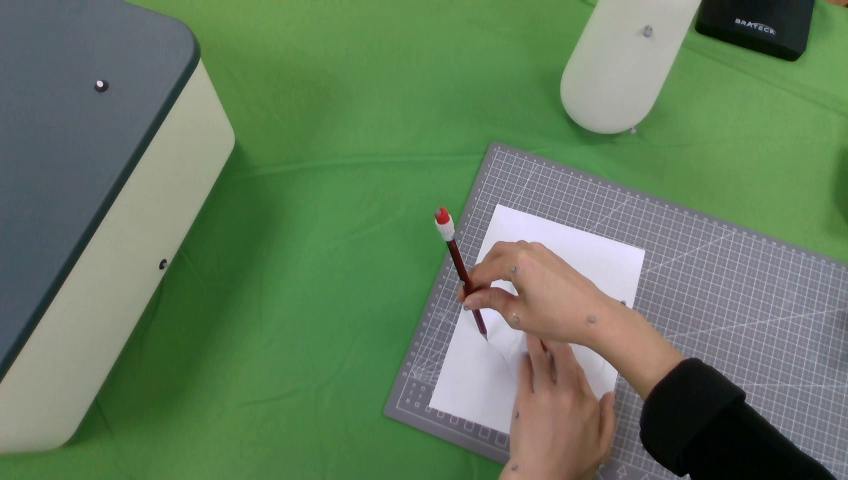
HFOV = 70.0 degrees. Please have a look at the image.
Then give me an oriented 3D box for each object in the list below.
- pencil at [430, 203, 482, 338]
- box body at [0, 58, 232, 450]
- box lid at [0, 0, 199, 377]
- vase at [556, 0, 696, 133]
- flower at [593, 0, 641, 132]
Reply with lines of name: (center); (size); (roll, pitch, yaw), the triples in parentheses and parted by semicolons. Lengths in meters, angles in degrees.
pencil: (0.031, 0.035, 0.492); (0.012, 0.196, 0.012); (-8, 52, 11)
box body: (-0.362, -0.029, 0.520); (0.254, 0.161, 0.362); (20, 72, 6)
box lid: (-0.361, -0.056, 0.450); (0.263, 0.015, 0.370); (21, 71, 5)
vase: (0.187, -0.185, 0.567); (0.098, 0.201, 0.097); (0, 69, 0)
flower: (0.187, -0.227, 0.494); (0.044, 0.365, 0.038); (14, 53, 8)
